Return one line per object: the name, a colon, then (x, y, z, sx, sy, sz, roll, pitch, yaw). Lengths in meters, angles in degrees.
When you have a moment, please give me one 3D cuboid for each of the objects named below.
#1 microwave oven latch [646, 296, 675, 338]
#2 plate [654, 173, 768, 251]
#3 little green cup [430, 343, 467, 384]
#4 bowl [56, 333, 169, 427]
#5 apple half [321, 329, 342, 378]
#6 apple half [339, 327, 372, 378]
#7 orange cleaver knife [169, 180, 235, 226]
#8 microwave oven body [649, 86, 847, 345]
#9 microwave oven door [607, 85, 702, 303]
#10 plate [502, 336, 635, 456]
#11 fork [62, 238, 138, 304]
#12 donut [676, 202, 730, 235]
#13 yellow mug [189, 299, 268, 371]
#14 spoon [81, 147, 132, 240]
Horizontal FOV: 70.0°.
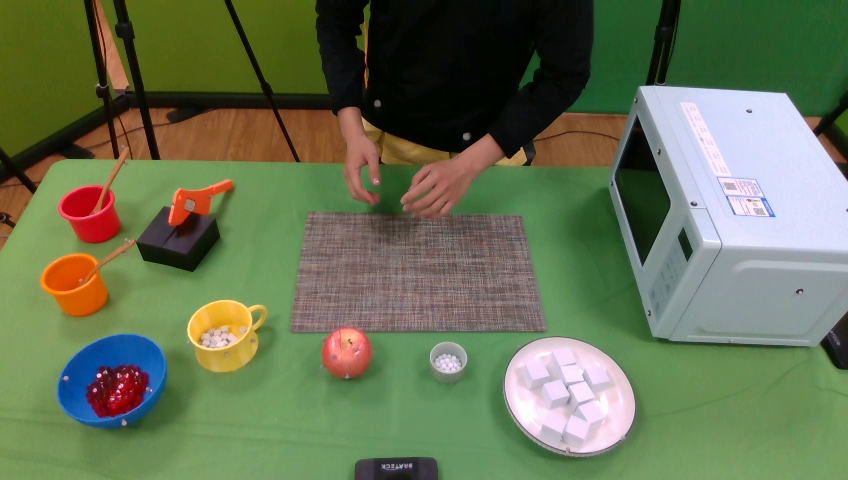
microwave oven latch: (0.412, 0.134, 1.061, 0.030, 0.029, 0.078, 4, 45, 1)
plate: (0.556, -0.050, 1.187, 0.209, 0.038, 0.208, 1, 46, -1)
little green cup: (0.039, 0.203, 0.993, 0.061, 0.039, 0.061, 2, 46, -2)
bowl: (-0.456, 0.223, 0.912, 0.151, 0.077, 0.150, 3, 46, -2)
apple half: (-0.150, 0.186, 0.972, 0.033, 0.081, 0.080, -2, 46, -13)
apple half: (-0.111, 0.182, 0.980, 0.053, 0.075, 0.080, -2, 42, -12)
orange cleaver knife: (-0.436, -0.076, 1.199, 0.012, 0.077, 0.211, 17, 17, 9)
microwave oven body: (0.568, -0.053, 1.118, 0.326, 0.261, 0.439, 2, 45, -1)
microwave oven door: (0.423, -0.094, 1.141, 0.039, 0.245, 0.353, 2, 46, -1)
plate: (0.225, 0.248, 0.963, 0.208, 0.039, 0.206, 2, 46, -2)
fork: (-0.547, 0.053, 1.018, 0.207, 0.019, 0.028, -36, 41, 23)
donut: (0.538, -0.043, 1.170, 0.099, 0.048, 0.098, 5, 25, -2)
yellow mug: (-0.316, 0.148, 1.002, 0.131, 0.064, 0.099, -33, 56, -31)
spoon: (-0.603, -0.089, 1.156, 0.041, 0.022, 0.193, 27, 95, 18)
